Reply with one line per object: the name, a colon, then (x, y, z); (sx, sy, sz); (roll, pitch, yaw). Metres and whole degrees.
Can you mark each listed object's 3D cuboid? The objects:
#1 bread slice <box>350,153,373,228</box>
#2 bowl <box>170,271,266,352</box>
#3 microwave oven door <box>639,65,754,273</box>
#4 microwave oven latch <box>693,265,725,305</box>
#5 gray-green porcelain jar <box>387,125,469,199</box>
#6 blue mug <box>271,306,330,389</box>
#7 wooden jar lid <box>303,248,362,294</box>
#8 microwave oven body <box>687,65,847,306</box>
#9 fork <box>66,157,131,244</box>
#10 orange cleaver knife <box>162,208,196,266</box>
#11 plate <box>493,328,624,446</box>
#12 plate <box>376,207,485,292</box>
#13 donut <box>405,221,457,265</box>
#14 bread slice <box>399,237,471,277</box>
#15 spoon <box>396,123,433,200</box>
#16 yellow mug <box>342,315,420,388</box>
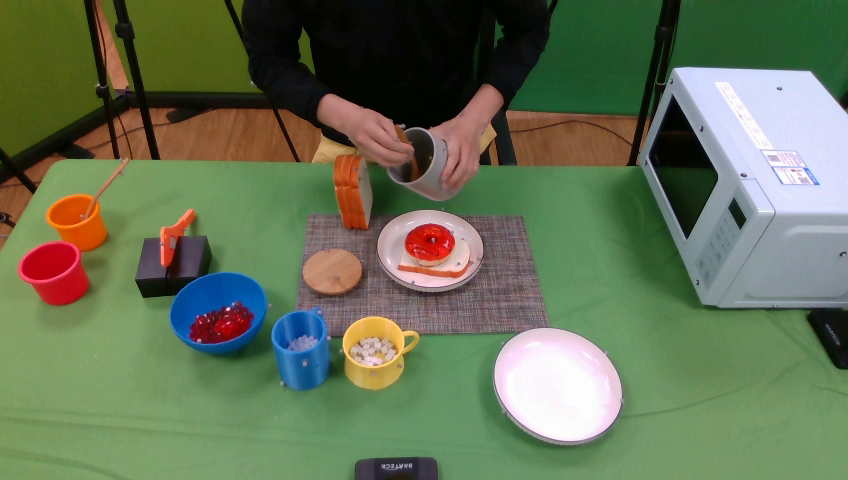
bread slice: (-0.124, -0.104, 1.207); (0.018, 0.135, 0.106); (-1, 48, 7)
bowl: (-0.333, 0.132, 1.006); (0.151, 0.077, 0.150); (2, 46, -2)
microwave oven door: (0.522, -0.147, 1.192); (0.039, 0.245, 0.353); (0, 47, -3)
microwave oven latch: (0.522, 0.081, 1.115); (0.030, 0.029, 0.078); (2, 46, -1)
gray-green porcelain jar: (0.012, -0.134, 1.085); (0.105, 0.106, 0.127); (47, 16, 33)
blue mug: (-0.188, 0.163, 0.969); (0.082, 0.106, 0.116); (15, 47, 10)
wooden jar lid: (-0.169, 0.059, 1.122); (0.108, 0.021, 0.107); (2, 46, -2)
microwave oven body: (0.669, -0.111, 1.176); (0.326, 0.261, 0.439); (0, 46, -3)
fork: (-0.608, -0.074, 1.132); (0.207, 0.019, 0.028); (-52, 49, 10)
orange cleaver knife: (-0.454, -0.010, 1.129); (0.012, 0.077, 0.210); (-1, 17, -6)
plate: (0.213, 0.236, 0.974); (0.208, 0.039, 0.206); (2, 46, -2)
plate: (0.012, 0.021, 1.158); (0.209, 0.038, 0.208); (2, 47, -2)
donut: (0.013, 0.004, 1.137); (0.099, 0.048, 0.098); (0, 46, 0)
bread slice: (0.025, 0.025, 1.161); (0.131, 0.019, 0.104); (7, 47, 8)
spoon: (-0.019, -0.128, 1.023); (0.041, 0.195, 0.021); (17, 59, 26)
yellow mug: (-0.068, 0.177, 0.990); (0.131, 0.064, 0.099); (-15, 50, -19)
